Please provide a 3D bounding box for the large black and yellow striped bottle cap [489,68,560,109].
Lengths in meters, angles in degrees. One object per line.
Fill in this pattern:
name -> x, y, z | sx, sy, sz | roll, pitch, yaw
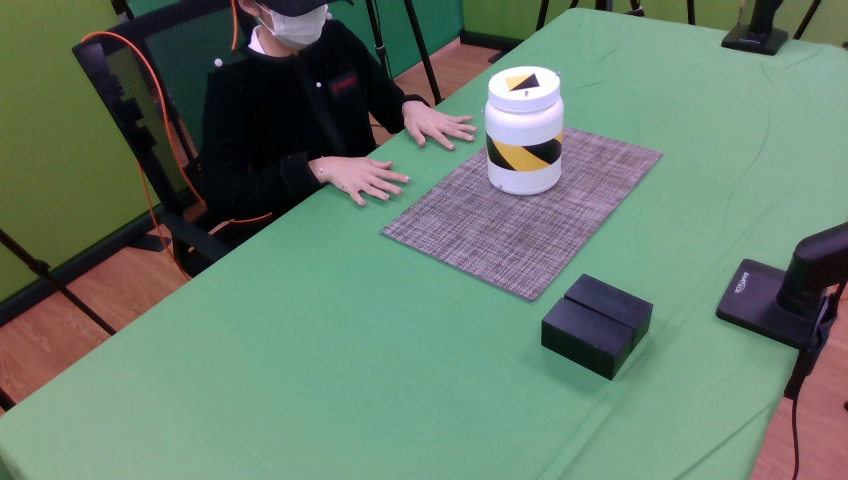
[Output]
large black and yellow striped bottle cap -> 0.161, -0.247, 0.979 | 0.115, 0.019, 0.114 | -5, 39, 4

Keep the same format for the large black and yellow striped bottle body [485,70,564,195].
large black and yellow striped bottle body -> 0.172, -0.184, 1.034 | 0.131, 0.185, 0.130 | -5, 40, 5
